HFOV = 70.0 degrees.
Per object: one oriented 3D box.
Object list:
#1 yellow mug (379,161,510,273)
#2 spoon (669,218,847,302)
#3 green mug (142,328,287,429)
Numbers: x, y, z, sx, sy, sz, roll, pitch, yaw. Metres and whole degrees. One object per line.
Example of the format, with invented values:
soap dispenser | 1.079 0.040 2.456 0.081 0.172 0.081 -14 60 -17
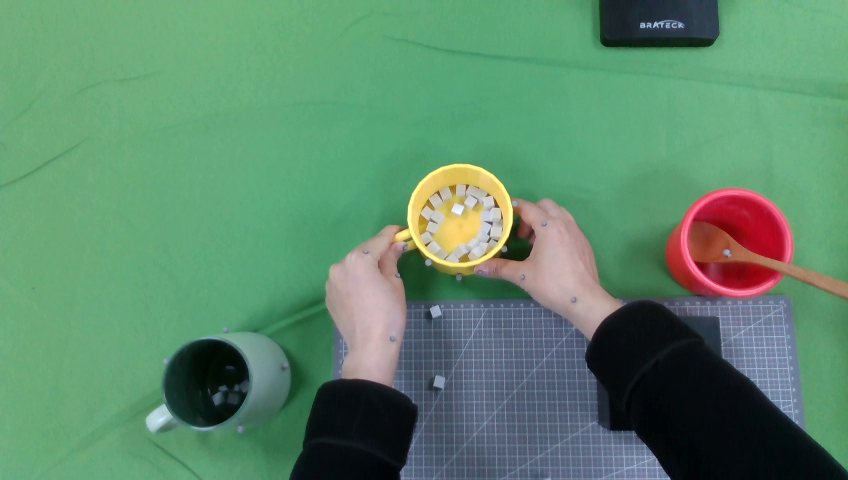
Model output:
yellow mug | 0.018 -0.015 0.594 0.131 0.064 0.099 -20 80 1
spoon | 0.302 0.022 0.530 0.041 0.022 0.192 -54 37 -4
green mug | -0.197 0.136 0.560 0.125 0.105 0.092 -33 80 -3
